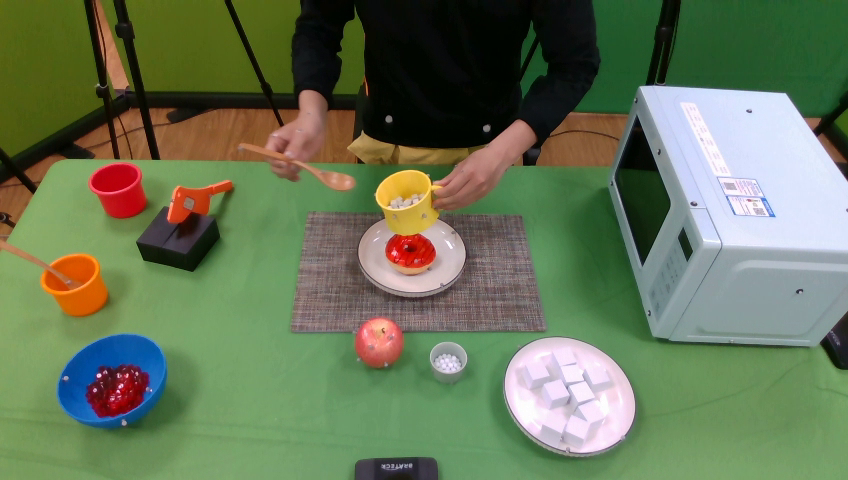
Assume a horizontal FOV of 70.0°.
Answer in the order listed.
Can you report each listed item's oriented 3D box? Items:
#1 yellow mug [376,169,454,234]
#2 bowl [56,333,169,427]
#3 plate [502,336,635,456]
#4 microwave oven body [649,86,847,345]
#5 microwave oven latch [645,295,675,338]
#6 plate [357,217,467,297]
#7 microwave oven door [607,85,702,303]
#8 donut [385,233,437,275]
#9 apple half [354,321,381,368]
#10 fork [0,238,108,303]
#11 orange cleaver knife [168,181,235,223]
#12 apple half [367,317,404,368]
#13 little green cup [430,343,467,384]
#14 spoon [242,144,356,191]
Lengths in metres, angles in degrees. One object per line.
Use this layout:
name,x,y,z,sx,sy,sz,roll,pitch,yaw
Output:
yellow mug,-0.012,-0.070,1.058,0.131,0.064,0.099,-9,48,10
bowl,-0.456,0.222,0.911,0.151,0.077,0.150,3,46,-2
plate,0.225,0.248,0.963,0.208,0.039,0.206,2,46,-2
microwave oven body,0.568,-0.053,1.118,0.326,0.261,0.439,2,45,-1
microwave oven latch,0.412,0.134,1.061,0.030,0.029,0.078,3,45,0
plate,-0.023,0.031,1.150,0.209,0.038,0.208,2,46,-2
microwave oven door,0.423,-0.094,1.140,0.039,0.245,0.353,2,46,-1
donut,-0.024,0.024,1.141,0.099,0.048,0.098,3,44,-3
apple half,-0.097,0.176,0.985,0.033,0.081,0.080,-12,48,-20
fork,-0.633,0.048,1.017,0.208,0.018,0.028,40,41,-27
orange cleaver knife,-0.436,-0.077,1.196,0.012,0.077,0.211,16,15,10
apple half,-0.061,0.167,0.998,0.053,0.075,0.080,-11,44,-20
little green cup,0.039,0.203,0.994,0.061,0.039,0.061,2,46,-2
spoon,-0.205,-0.124,1.004,0.194,0.022,0.041,22,47,-19
